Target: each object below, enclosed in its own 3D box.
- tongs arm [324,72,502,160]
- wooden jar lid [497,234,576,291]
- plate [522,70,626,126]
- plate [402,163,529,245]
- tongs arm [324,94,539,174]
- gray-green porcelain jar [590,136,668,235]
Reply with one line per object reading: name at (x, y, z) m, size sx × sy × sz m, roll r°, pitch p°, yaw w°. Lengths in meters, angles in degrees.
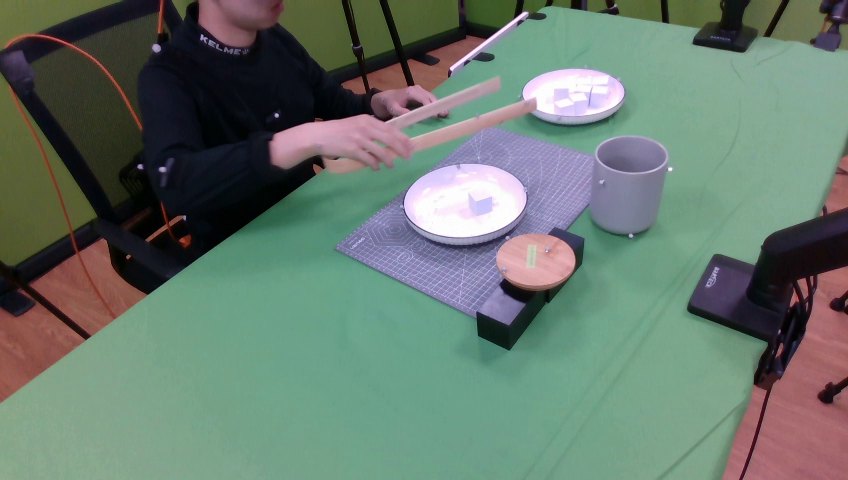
tongs arm at (-0.011, -0.222, 1.083) m, size 0.389 × 0.028 × 0.028 m, roll -28°, pitch 48°, yaw -21°
wooden jar lid at (0.155, 0.032, 0.834) m, size 0.108 × 0.021 × 0.108 m, roll -5°, pitch 40°, yaw 5°
plate at (0.308, -0.290, 1.251) m, size 0.207 × 0.039 × 0.206 m, roll -4°, pitch 40°, yaw 4°
plate at (0.069, -0.056, 1.008) m, size 0.209 × 0.038 × 0.208 m, roll -4°, pitch 40°, yaw 4°
tongs arm at (0.019, -0.187, 1.036) m, size 0.386 × 0.026 × 0.050 m, roll -23°, pitch 43°, yaw -14°
gray-green porcelain jar at (0.314, -0.080, 0.937) m, size 0.106 × 0.127 × 0.105 m, roll -4°, pitch 41°, yaw 4°
